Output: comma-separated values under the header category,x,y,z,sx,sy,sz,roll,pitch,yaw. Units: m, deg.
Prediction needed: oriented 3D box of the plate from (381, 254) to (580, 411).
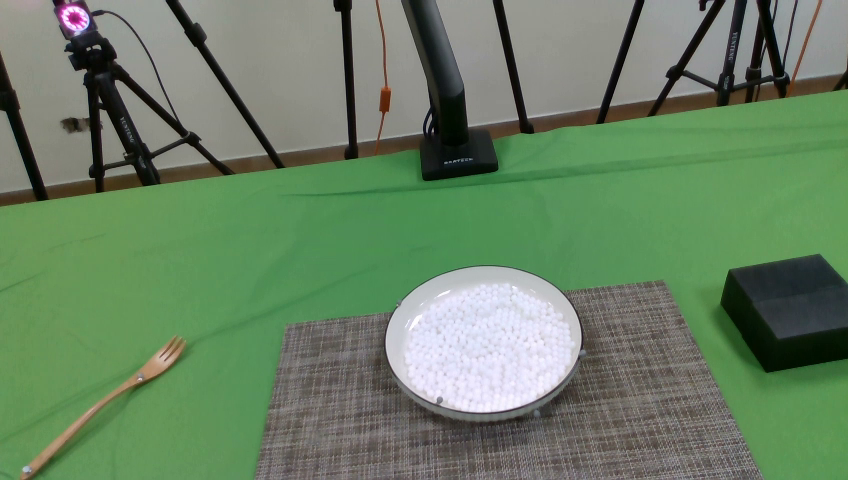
category,x,y,z,sx,sy,sz,roll,pitch,yaw
plate,0.058,0.096,0.645,0.209,0.038,0.207,-6,40,5

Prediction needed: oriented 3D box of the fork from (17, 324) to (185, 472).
category,x,y,z,sx,sy,sz,roll,pitch,yaw
fork,-0.346,0.166,0.660,0.028,0.019,0.207,27,49,22
